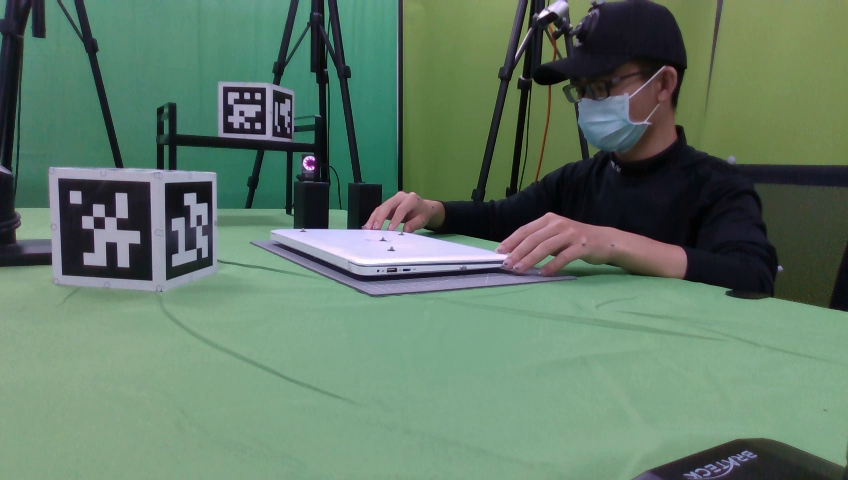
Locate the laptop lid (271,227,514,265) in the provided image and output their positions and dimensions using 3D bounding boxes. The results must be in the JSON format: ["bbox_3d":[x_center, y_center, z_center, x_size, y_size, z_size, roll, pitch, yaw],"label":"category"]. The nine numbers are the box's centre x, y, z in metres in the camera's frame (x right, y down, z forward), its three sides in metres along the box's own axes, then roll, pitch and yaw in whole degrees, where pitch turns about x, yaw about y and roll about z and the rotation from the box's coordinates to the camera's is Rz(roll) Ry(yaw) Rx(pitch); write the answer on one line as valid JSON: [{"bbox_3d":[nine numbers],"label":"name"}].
[{"bbox_3d":[-0.063,0.003,0.892,0.243,0.013,0.355,0,7,-30],"label":"laptop lid"}]

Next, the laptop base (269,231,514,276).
[{"bbox_3d":[-0.066,0.017,0.893,0.237,0.023,0.352,1,7,-32],"label":"laptop base"}]
